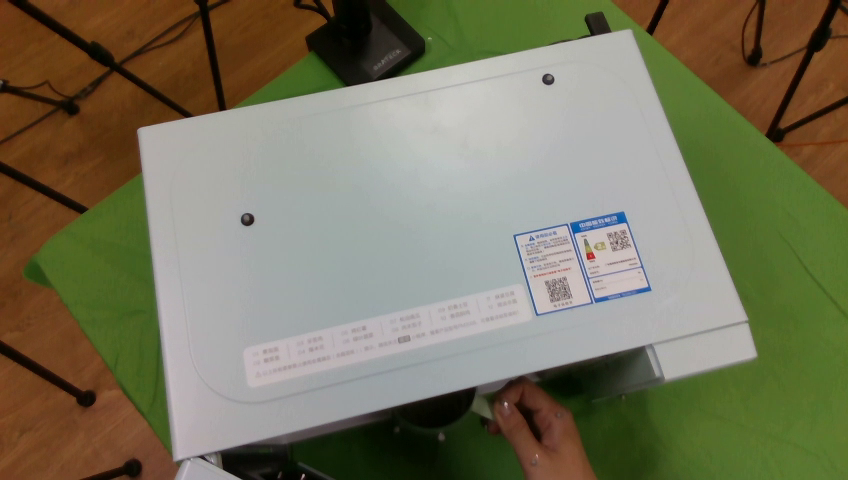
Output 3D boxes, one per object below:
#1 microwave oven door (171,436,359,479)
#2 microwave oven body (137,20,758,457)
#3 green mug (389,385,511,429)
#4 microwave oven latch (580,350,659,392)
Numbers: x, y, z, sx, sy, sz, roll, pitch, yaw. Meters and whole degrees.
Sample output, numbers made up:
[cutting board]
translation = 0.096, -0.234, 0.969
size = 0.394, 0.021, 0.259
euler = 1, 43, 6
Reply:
[microwave oven door]
translation = -0.013, 0.261, 0.514
size = 0.355, 0.245, 0.039
euler = 23, 74, 6
[microwave oven body]
translation = 0.006, 0.016, 0.597
size = 0.442, 0.261, 0.324
euler = -13, 73, -4
[green mug]
translation = 0.020, 0.133, 0.553
size = 0.125, 0.105, 0.092
euler = 22, 77, 4
[microwave oven latch]
translation = 0.213, 0.144, 0.661
size = 0.079, 0.029, 0.030
euler = -11, 73, -3
